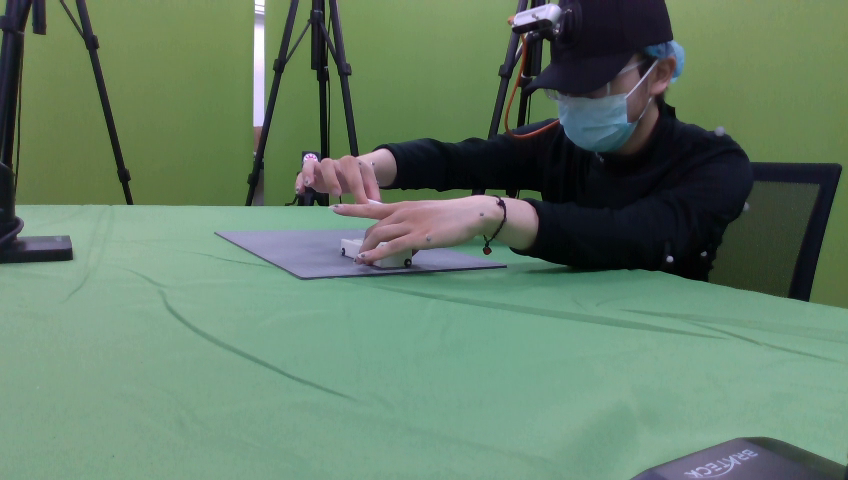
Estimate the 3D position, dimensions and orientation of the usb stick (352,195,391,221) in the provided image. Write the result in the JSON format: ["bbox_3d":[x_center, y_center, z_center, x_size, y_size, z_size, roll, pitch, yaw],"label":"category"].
[{"bbox_3d":[-0.071,-0.043,0.854,0.059,0.027,0.021,23,5,26],"label":"usb stick"}]

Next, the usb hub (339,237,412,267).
[{"bbox_3d":[-0.070,0.015,0.832,0.050,0.025,0.124,-3,9,-34],"label":"usb hub"}]
